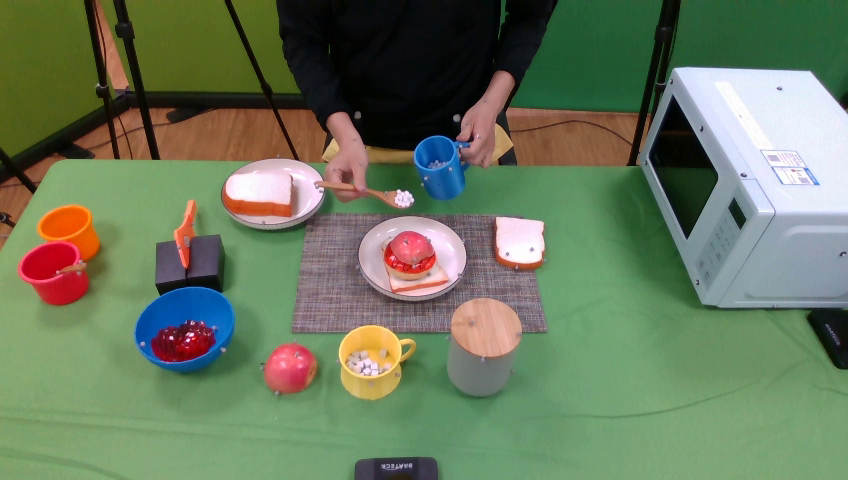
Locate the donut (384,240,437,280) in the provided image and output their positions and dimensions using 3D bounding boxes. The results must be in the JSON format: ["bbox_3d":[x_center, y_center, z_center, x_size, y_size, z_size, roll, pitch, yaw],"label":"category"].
[{"bbox_3d":[-0.025,0.029,1.109,0.099,0.048,0.098,2,46,-2],"label":"donut"}]

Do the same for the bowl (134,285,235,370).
[{"bbox_3d":[-0.377,0.155,0.981,0.151,0.077,0.150,2,46,-2],"label":"bowl"}]

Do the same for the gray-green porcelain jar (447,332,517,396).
[{"bbox_3d":[0.091,0.178,0.960,0.106,0.127,0.105,2,46,-2],"label":"gray-green porcelain jar"}]

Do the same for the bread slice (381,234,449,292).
[{"bbox_3d":[-0.027,0.039,1.140,0.107,0.018,0.133,-12,48,-15],"label":"bread slice"}]

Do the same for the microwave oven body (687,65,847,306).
[{"bbox_3d":[0.669,-0.111,1.176,0.326,0.261,0.439,0,46,-3],"label":"microwave oven body"}]

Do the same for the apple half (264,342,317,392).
[{"bbox_3d":[-0.214,0.198,0.970,0.074,0.053,0.080,19,47,11],"label":"apple half"}]

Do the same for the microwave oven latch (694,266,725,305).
[{"bbox_3d":[0.523,0.082,1.115,0.030,0.029,0.078,3,46,0],"label":"microwave oven latch"}]

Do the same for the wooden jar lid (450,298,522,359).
[{"bbox_3d":[0.093,0.135,0.914,0.108,0.021,0.107,2,48,-3],"label":"wooden jar lid"}]

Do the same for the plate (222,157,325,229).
[{"bbox_3d":[-0.308,-0.094,1.251,0.209,0.038,0.208,2,46,-2],"label":"plate"}]

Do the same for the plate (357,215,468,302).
[{"bbox_3d":[-0.022,0.037,1.141,0.208,0.039,0.206,2,46,-2],"label":"plate"}]

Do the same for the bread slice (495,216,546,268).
[{"bbox_3d":[0.194,0.002,1.205,0.105,0.019,0.131,5,45,2],"label":"bread slice"}]

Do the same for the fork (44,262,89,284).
[{"bbox_3d":[-0.598,0.054,1.014,0.207,0.019,0.028,-15,29,45],"label":"fork"}]

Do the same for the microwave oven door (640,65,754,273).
[{"bbox_3d":[0.523,-0.147,1.193,0.039,0.245,0.353,0,47,-3],"label":"microwave oven door"}]

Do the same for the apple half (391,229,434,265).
[{"bbox_3d":[-0.021,0.003,1.085,0.081,0.033,0.081,7,45,-7],"label":"apple half"}]

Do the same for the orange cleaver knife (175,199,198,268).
[{"bbox_3d":[-0.438,-0.017,1.138,0.012,0.077,0.210,-13,27,-7],"label":"orange cleaver knife"}]

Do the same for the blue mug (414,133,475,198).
[{"bbox_3d":[0.046,-0.149,1.167,0.116,0.106,0.082,-30,59,-2],"label":"blue mug"}]

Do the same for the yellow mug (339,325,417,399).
[{"bbox_3d":[-0.072,0.190,0.978,0.131,0.064,0.099,-17,50,-20],"label":"yellow mug"}]

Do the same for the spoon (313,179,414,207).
[{"bbox_3d":[-0.103,-0.088,1.067,0.194,0.021,0.041,11,48,-33],"label":"spoon"}]
